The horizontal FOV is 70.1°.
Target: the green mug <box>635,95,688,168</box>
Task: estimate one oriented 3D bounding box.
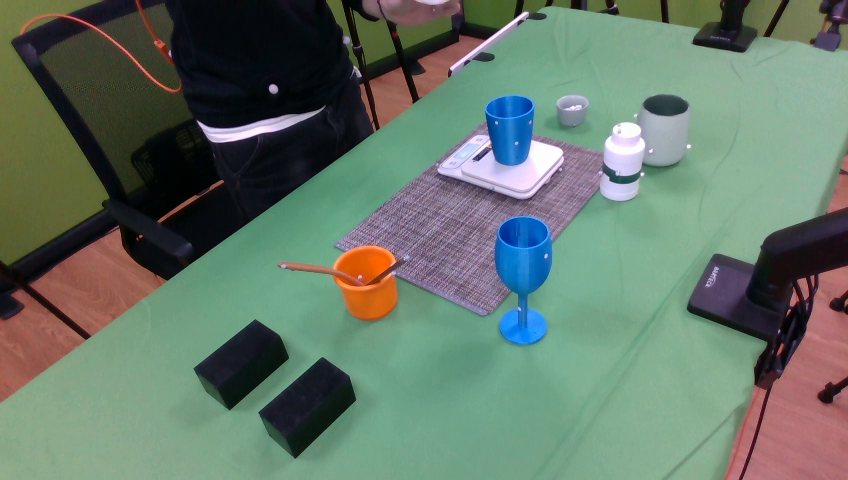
[{"bbox_3d":[0.421,-0.201,1.081,0.092,0.105,0.125,5,42,15],"label":"green mug"}]

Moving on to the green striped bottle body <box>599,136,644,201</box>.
[{"bbox_3d":[0.326,-0.128,0.997,0.063,0.120,0.063,-4,41,4],"label":"green striped bottle body"}]

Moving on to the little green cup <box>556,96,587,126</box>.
[{"bbox_3d":[0.295,-0.258,1.214,0.061,0.039,0.061,-4,42,4],"label":"little green cup"}]

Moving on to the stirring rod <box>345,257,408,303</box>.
[{"bbox_3d":[-0.067,0.057,0.815,0.014,0.175,0.006,-24,82,-37],"label":"stirring rod"}]

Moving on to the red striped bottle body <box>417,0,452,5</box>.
[{"bbox_3d":[0.012,-0.401,0.852,0.063,0.120,0.062,-3,45,4],"label":"red striped bottle body"}]

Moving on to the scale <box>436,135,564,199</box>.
[{"bbox_3d":[0.137,-0.142,1.101,0.199,0.032,0.149,22,48,30],"label":"scale"}]

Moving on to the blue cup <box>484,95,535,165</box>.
[{"bbox_3d":[0.150,-0.188,1.053,0.092,0.100,0.092,-6,39,5],"label":"blue cup"}]

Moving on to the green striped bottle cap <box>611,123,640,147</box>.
[{"bbox_3d":[0.322,-0.168,0.963,0.044,0.020,0.044,-3,41,3],"label":"green striped bottle cap"}]

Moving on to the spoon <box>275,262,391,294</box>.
[{"bbox_3d":[-0.120,0.050,0.830,0.041,0.195,0.021,31,97,45],"label":"spoon"}]

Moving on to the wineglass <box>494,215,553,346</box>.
[{"bbox_3d":[0.127,0.055,0.770,0.074,0.173,0.073,-4,40,4],"label":"wineglass"}]
